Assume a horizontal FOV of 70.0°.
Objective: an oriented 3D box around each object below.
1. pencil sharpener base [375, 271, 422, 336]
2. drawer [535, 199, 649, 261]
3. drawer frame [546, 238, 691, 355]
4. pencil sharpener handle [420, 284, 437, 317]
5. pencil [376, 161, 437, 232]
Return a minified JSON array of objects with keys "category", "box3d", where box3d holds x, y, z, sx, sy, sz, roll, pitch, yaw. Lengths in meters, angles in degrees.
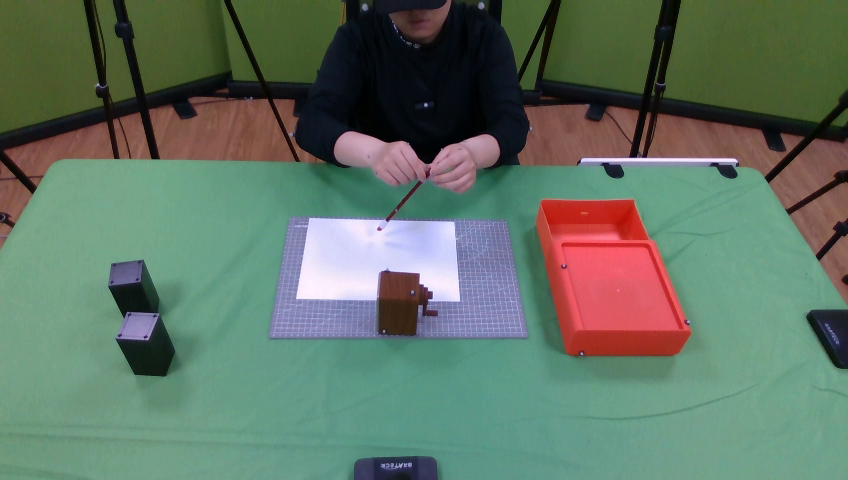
[{"category":"pencil sharpener base","box3d":[-0.043,0.109,1.025,0.077,0.107,0.061,3,45,-2]},{"category":"drawer","box3d":[0.332,0.015,1.170,0.195,0.073,0.210,0,46,-5]},{"category":"drawer frame","box3d":[0.338,0.097,1.086,0.202,0.083,0.212,0,46,-4]},{"category":"pencil sharpener handle","box3d":[0.009,0.103,1.017,0.030,0.068,0.036,3,40,-2]},{"category":"pencil","box3d":[-0.034,-0.080,1.136,0.012,0.194,0.012,30,32,-21]}]
